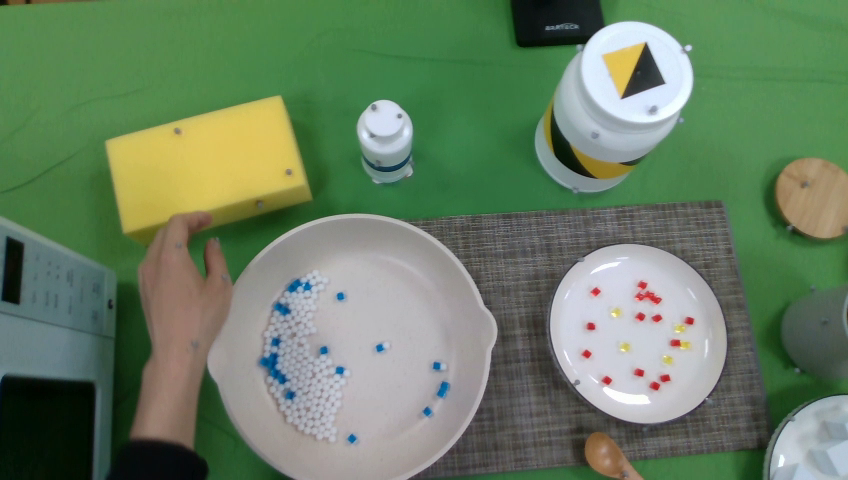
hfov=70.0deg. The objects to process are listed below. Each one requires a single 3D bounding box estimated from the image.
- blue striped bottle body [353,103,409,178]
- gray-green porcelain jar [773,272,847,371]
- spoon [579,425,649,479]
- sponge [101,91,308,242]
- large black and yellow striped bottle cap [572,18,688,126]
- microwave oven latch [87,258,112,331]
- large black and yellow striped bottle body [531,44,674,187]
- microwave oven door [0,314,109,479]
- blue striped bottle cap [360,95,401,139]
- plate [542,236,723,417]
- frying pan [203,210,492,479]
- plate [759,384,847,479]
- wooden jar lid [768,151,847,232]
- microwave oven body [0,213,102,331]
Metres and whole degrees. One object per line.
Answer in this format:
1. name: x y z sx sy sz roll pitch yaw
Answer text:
1. blue striped bottle body: -0.049 -0.122 0.707 0.063 0.121 0.063 1 76 -3
2. gray-green porcelain jar: 0.472 0.093 0.682 0.106 0.127 0.105 1 76 -3
3. spoon: 0.251 0.275 0.677 0.193 0.022 0.041 36 60 4
4. sponge: -0.255 -0.086 0.718 0.207 0.061 0.117 -17 78 -8
5. large black and yellow striped bottle cap: 0.208 -0.171 0.613 0.115 0.019 0.114 1 75 -2
6. microwave oven latch: -0.365 0.061 0.669 0.030 0.029 0.079 -2 77 -4
7. large black and yellow striped bottle body: 0.205 -0.150 0.696 0.131 0.184 0.130 1 76 -2
8. microwave oven door: -0.346 0.248 0.521 0.039 0.244 0.354 -4 76 -4
9. blue striped bottle cap: -0.047 -0.134 0.657 0.044 0.021 0.044 0 74 -1
10. plate: 0.239 0.099 0.709 0.209 0.038 0.208 1 77 -2
11. frying pan: -0.068 0.209 0.633 0.307 0.103 0.484 -6 68 -2
12. plate: 0.477 0.269 0.686 0.208 0.039 0.206 1 76 -3
13. wooden jar lid: 0.491 -0.061 0.775 0.108 0.021 0.108 1 78 -3
14. microwave oven body: -0.494 0.217 0.525 0.326 0.261 0.439 -4 77 -4
